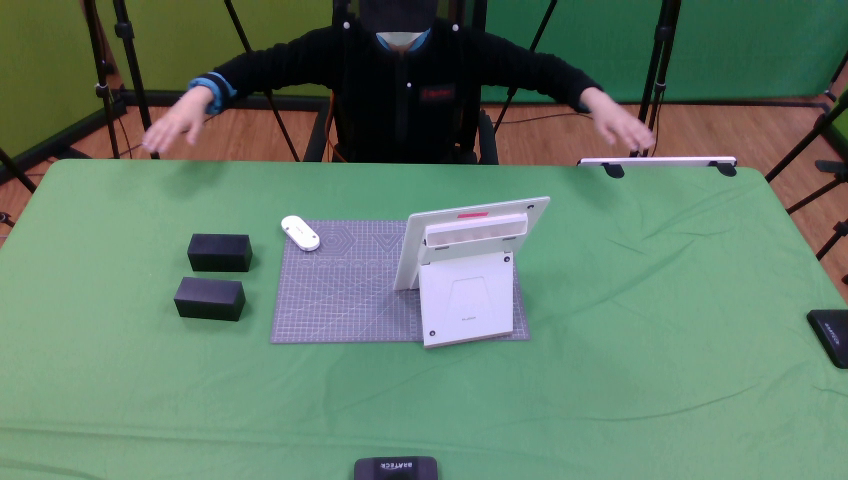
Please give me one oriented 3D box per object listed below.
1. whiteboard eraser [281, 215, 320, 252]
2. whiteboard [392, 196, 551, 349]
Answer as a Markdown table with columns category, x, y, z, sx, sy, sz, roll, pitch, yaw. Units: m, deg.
| category | x | y | z | sx | sy | sz | roll | pitch | yaw |
| --- | --- | --- | --- | --- | --- | --- | --- | --- | --- |
| whiteboard eraser | -0.244 | -0.015 | 1.190 | 0.041 | 0.019 | 0.100 | -30 | 56 | -29 |
| whiteboard | 0.077 | 0.071 | 0.977 | 0.217 | 0.306 | 0.143 | -7 | 67 | -11 |
